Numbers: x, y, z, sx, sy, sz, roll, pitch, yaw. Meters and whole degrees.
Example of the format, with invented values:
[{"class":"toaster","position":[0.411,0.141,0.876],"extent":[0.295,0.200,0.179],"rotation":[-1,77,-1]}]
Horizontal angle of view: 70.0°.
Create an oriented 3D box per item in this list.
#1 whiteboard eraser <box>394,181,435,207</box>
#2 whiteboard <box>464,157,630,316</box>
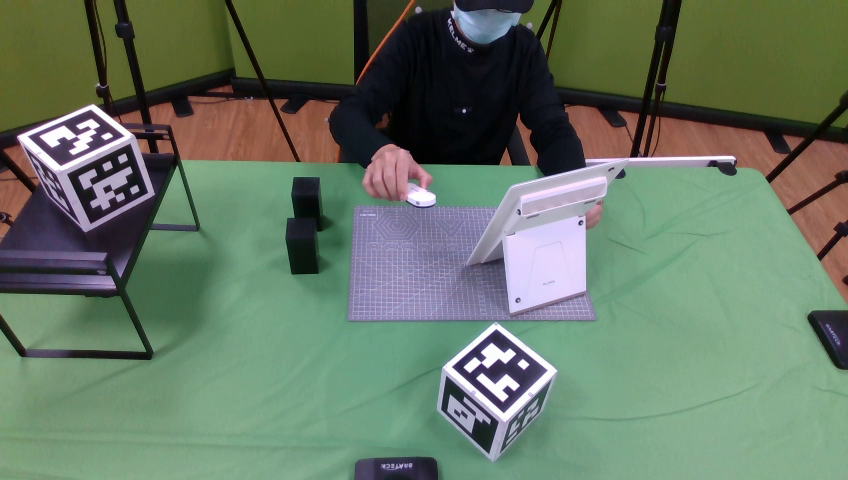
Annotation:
[{"class":"whiteboard eraser","position":[-0.017,-0.081,1.052],"extent":[0.041,0.019,0.100],"rotation":[-16,29,-28]},{"class":"whiteboard","position":[0.224,0.015,1.043],"extent":[0.217,0.306,0.143],"rotation":[-14,68,-17]}]
